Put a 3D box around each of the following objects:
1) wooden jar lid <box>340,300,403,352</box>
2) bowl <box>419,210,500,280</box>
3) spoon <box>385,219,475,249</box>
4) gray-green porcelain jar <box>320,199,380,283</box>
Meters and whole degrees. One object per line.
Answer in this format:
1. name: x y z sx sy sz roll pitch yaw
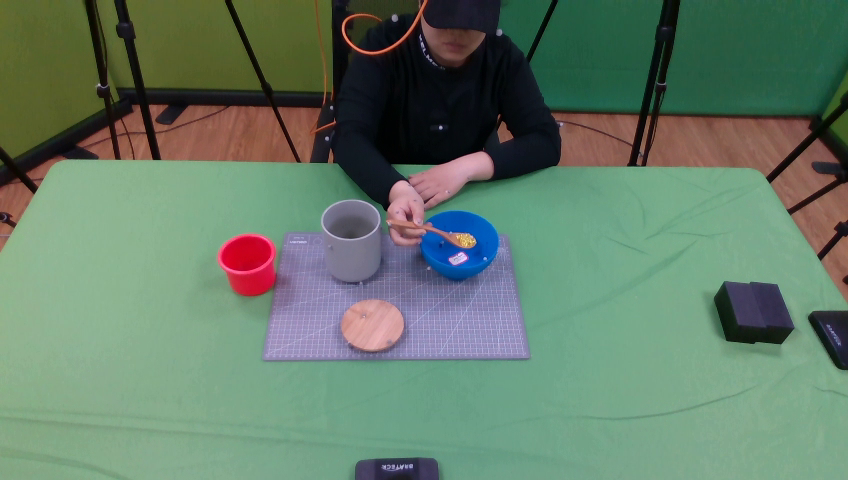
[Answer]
1. wooden jar lid: -0.090 0.150 1.046 0.108 0.021 0.107 3 47 -3
2. bowl: 0.062 0.022 1.140 0.151 0.077 0.150 2 46 -2
3. spoon: 0.014 -0.015 1.089 0.195 0.021 0.041 17 39 -35
4. gray-green porcelain jar: -0.132 0.007 1.106 0.106 0.127 0.105 2 46 -2
